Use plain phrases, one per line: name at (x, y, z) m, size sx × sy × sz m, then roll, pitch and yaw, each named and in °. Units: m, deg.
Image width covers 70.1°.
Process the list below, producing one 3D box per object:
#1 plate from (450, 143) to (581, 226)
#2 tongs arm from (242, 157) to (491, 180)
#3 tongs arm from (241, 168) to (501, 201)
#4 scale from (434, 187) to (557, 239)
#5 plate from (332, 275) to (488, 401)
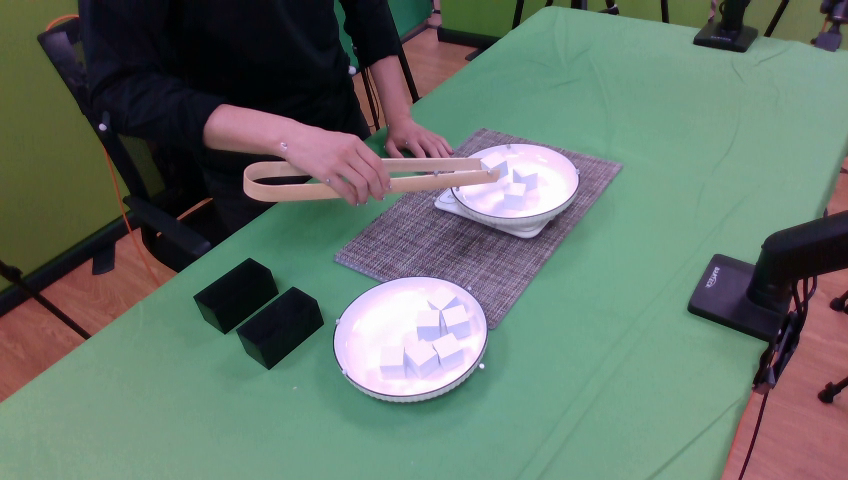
plate at (0.148, -0.087, 0.986) m, size 0.209 × 0.038 × 0.208 m, roll -4°, pitch 41°, yaw 4°
tongs arm at (-0.070, -0.104, 0.885) m, size 0.390 × 0.028 × 0.028 m, roll -6°, pitch 47°, yaw -25°
tongs arm at (-0.061, -0.089, 0.869) m, size 0.387 × 0.026 × 0.050 m, roll -9°, pitch 45°, yaw -28°
scale at (0.132, -0.074, 1.025) m, size 0.199 × 0.032 × 0.149 m, roll 22°, pitch 48°, yaw 30°
plate at (-0.017, 0.131, 0.808) m, size 0.207 × 0.039 × 0.206 m, roll -4°, pitch 41°, yaw 4°
